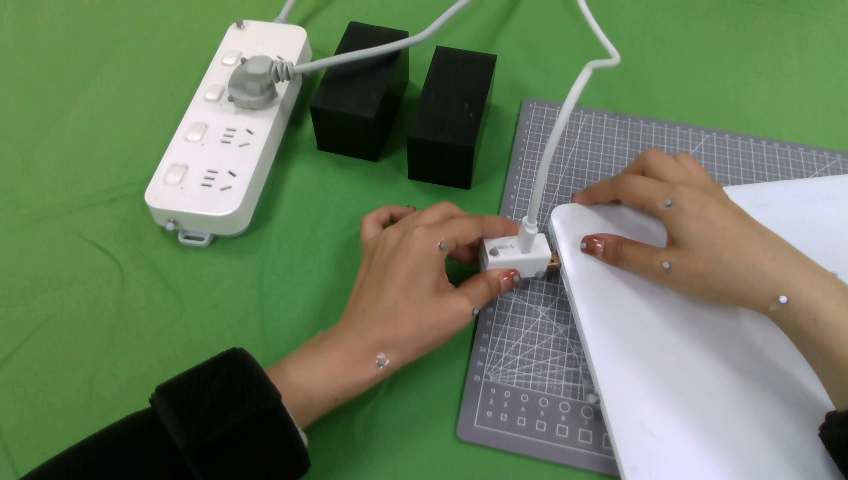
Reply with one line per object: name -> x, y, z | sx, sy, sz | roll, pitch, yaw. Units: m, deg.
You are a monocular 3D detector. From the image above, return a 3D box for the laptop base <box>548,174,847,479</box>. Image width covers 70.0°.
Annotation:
laptop base -> 0.277, 0.058, 0.404 | 0.355, 0.023, 0.233 | -6, 61, -5

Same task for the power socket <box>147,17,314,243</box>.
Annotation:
power socket -> -0.148, -0.100, 0.487 | 0.072, 0.033, 0.225 | 9, 58, 3

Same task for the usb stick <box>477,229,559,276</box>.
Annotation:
usb stick -> 0.068, 0.008, 0.413 | 0.059, 0.027, 0.021 | -3, 50, -15

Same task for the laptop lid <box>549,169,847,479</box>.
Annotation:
laptop lid -> 0.277, 0.053, 0.393 | 0.357, 0.013, 0.239 | -5, 60, -4

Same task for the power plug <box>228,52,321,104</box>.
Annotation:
power plug -> -0.117, -0.116, 0.470 | 0.072, 0.053, 0.035 | 18, 59, 10
